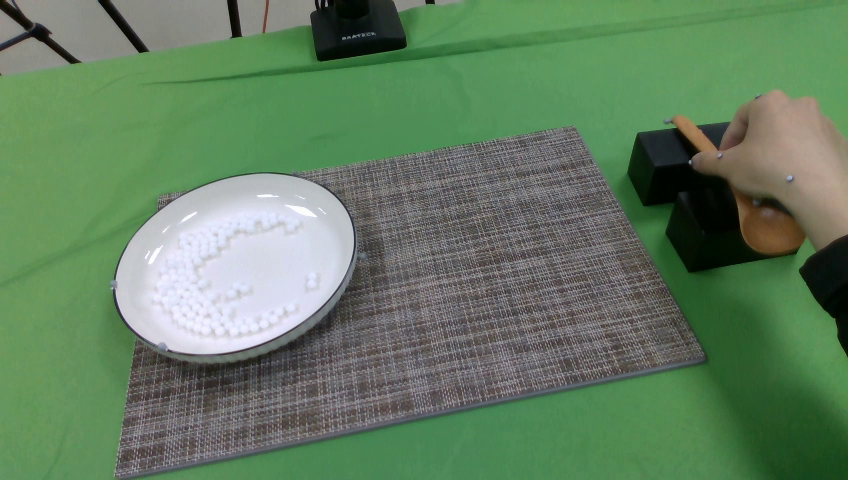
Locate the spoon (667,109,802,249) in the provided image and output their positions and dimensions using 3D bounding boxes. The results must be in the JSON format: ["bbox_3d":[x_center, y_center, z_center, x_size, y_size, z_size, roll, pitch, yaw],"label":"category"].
[{"bbox_3d":[0.256,-0.061,0.519,0.041,0.022,0.191,-25,47,13],"label":"spoon"}]

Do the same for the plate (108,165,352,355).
[{"bbox_3d":[-0.166,0.015,0.538,0.207,0.039,0.205,-2,49,3],"label":"plate"}]
